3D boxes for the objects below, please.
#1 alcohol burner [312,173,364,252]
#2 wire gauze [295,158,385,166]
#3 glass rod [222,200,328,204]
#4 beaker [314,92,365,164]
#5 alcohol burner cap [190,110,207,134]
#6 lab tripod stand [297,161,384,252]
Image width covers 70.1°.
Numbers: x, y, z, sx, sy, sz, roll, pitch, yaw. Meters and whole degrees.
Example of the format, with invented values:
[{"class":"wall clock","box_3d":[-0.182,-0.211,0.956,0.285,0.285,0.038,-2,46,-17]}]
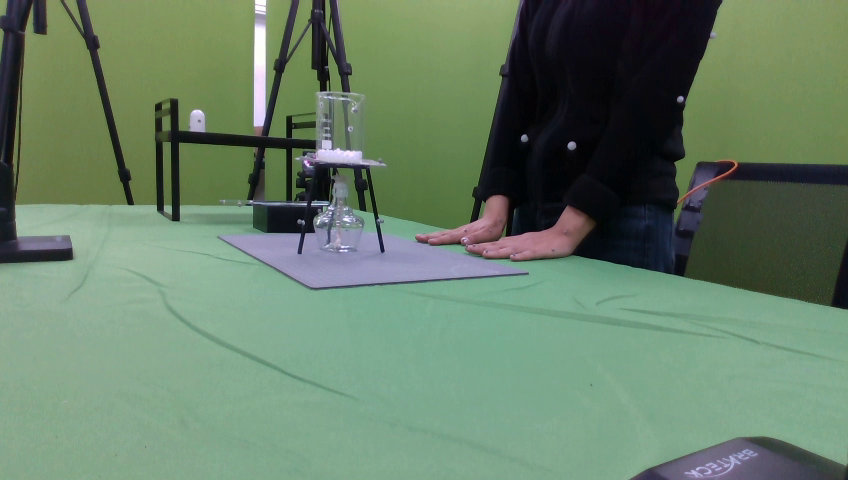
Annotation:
[{"class":"alcohol burner","box_3d":[-0.129,-0.042,0.910,0.078,0.119,0.078,4,9,0]},{"class":"wire gauze","box_3d":[-0.128,-0.117,0.901,0.125,0.011,0.121,-2,8,-14]},{"class":"glass rod","box_3d":[-0.276,-0.071,1.140,0.201,0.008,0.008,-1,8,-27]},{"class":"beaker","box_3d":[-0.123,-0.163,0.893,0.073,0.100,0.084,7,9,31]},{"class":"alcohol burner cap","box_3d":[-0.463,-0.242,1.240,0.034,0.048,0.034,1,7,0]},{"class":"lab tripod stand","box_3d":[-0.130,-0.051,0.903,0.148,0.131,0.148,3,9,0]}]
